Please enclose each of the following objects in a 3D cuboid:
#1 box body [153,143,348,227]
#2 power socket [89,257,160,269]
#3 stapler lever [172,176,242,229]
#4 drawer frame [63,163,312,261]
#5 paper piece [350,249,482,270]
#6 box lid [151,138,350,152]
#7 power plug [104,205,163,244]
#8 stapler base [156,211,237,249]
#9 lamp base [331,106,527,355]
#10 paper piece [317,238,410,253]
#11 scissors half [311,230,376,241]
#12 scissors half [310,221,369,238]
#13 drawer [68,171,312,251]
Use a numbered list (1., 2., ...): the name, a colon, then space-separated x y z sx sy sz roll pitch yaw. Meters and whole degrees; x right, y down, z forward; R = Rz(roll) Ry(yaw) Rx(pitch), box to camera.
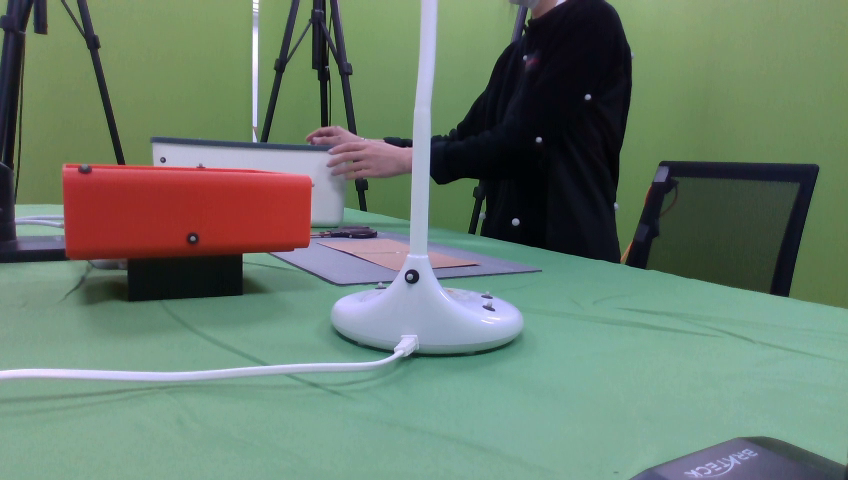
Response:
1. box body: -0.357 -0.119 1.264 0.365 0.160 0.253 0 7 -18
2. power socket: -0.409 0.004 0.793 0.072 0.032 0.225 -2 8 -38
3. stapler lever: -0.217 -0.041 0.618 0.027 0.040 0.118 18 11 -2
4. drawer frame: -0.248 -0.036 0.626 0.215 0.082 0.200 -3 9 -31
5. paper piece: -0.013 0.026 0.842 0.139 0.008 0.135 0 11 -32
6. box lid: -0.352 -0.192 1.255 0.373 0.015 0.262 0 7 -18
7. power plug: -0.390 -0.021 0.815 0.073 0.052 0.035 -1 8 -28
8. stapler base: -0.227 -0.017 0.624 0.041 0.024 0.130 18 10 -2
9. lamp base: 0.006 -0.012 0.478 0.161 0.180 0.179 2 10 2
10. paper piece: -0.083 0.008 0.952 0.136 0.004 0.134 -2 8 -31
11. scissors half: -0.163 -0.003 1.049 0.176 0.013 0.040 2 36 -28
12. scissors half: -0.172 -0.015 1.063 0.176 0.013 0.040 -10 37 -42
13. drawer: -0.247 -0.036 0.629 0.213 0.073 0.193 -3 9 -30
